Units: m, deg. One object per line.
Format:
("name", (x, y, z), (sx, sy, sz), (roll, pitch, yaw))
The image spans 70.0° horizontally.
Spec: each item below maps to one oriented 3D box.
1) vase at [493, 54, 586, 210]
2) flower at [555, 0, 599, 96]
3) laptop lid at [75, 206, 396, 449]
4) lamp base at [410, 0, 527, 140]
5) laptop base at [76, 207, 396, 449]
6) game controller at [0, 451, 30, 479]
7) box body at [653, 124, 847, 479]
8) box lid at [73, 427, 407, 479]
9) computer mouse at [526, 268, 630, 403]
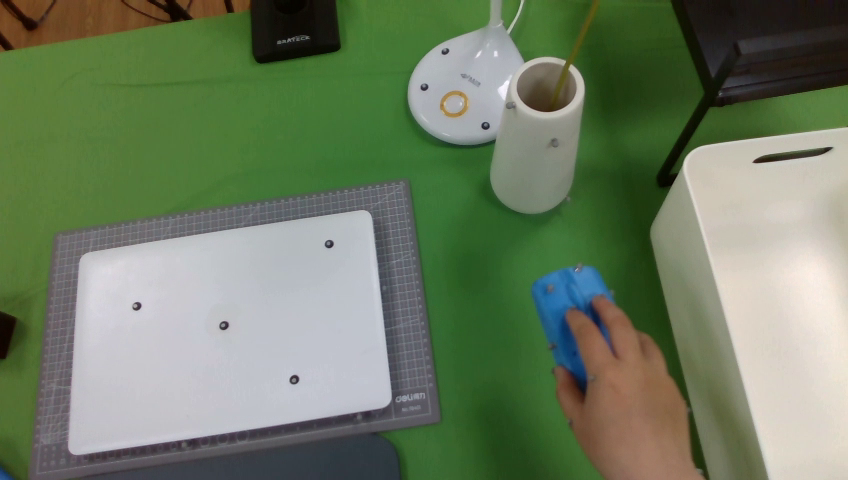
("vase", (0.124, -0.111, 0.653), (0.098, 0.201, 0.097), (-2, 67, 5))
("flower", (0.132, -0.151, 0.580), (0.038, 0.364, 0.043), (-15, 58, -20))
("laptop lid", (-0.218, 0.092, 0.684), (0.357, 0.013, 0.240), (-7, 71, 1))
("lamp base", (0.061, -0.239, 0.718), (0.160, 0.181, 0.178), (24, 70, 13))
("laptop base", (-0.217, 0.094, 0.696), (0.354, 0.023, 0.234), (-9, 72, 0))
("game controller", (-0.504, 0.282, 0.629), (0.096, 0.052, 0.155), (40, 76, 20))
("box body", (0.391, 0.090, 0.577), (0.254, 0.161, 0.361), (-7, 69, 2))
("box lid", (-0.191, 0.344, 0.604), (0.371, 0.015, 0.261), (-9, 69, 1))
("computer mouse", (0.134, 0.081, 0.527), (0.063, 0.041, 0.116), (-14, 71, -4))
